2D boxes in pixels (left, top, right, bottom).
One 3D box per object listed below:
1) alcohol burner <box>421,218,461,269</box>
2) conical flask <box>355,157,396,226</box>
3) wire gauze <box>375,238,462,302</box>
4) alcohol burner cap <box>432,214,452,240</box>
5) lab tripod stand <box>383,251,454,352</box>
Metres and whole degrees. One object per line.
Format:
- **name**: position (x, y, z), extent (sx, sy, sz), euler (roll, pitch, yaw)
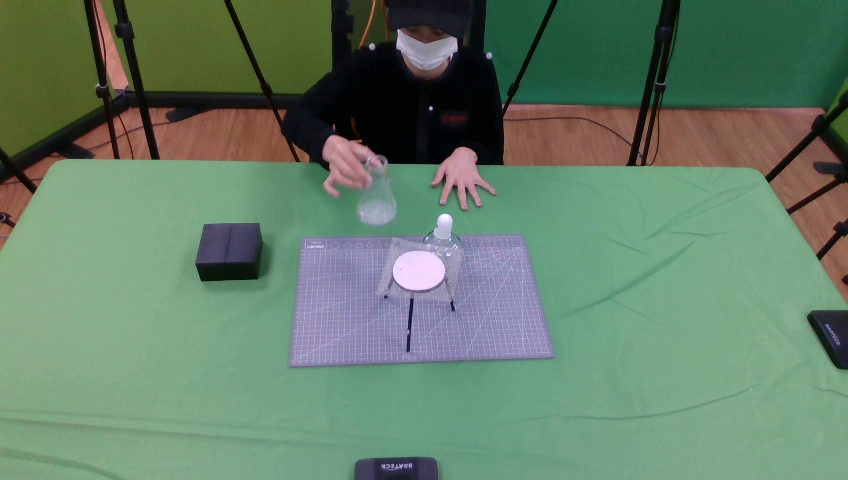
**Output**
- **alcohol burner**: position (0.033, -0.001, 1.135), extent (0.078, 0.119, 0.077), euler (3, 48, -3)
- **conical flask**: position (-0.085, -0.088, 1.071), extent (0.075, 0.122, 0.075), euler (2, 46, -2)
- **wire gauze**: position (-0.006, 0.048, 0.977), extent (0.121, 0.011, 0.124), euler (9, 45, 5)
- **alcohol burner cap**: position (0.035, -0.027, 1.110), extent (0.034, 0.048, 0.033), euler (7, 43, -6)
- **lab tripod stand**: position (-0.015, 0.094, 1.025), extent (0.148, 0.132, 0.147), euler (1, 46, -1)
